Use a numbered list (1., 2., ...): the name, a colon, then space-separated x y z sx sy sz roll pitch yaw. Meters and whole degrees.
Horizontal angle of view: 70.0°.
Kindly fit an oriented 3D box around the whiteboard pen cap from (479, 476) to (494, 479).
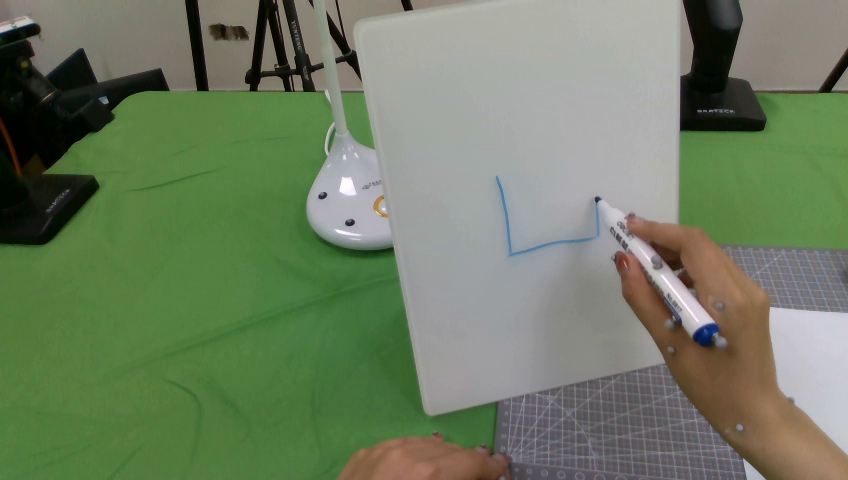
1. whiteboard pen cap: 0.053 0.177 0.420 0.033 0.018 0.018 6 41 32

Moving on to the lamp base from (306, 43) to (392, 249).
1. lamp base: -0.069 -0.108 0.648 0.160 0.182 0.177 -31 44 -25

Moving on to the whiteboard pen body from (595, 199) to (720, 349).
1. whiteboard pen body: 0.143 0.014 0.389 0.017 0.017 0.139 -13 41 -8

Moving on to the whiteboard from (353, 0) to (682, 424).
1. whiteboard: 0.075 -0.038 0.500 0.217 0.307 0.142 -11 22 -5
